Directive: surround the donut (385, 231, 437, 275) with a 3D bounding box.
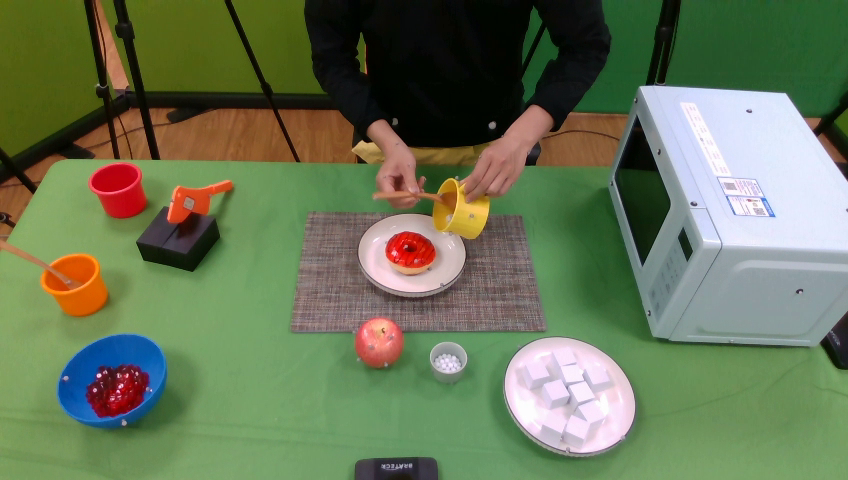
[{"bbox_3d":[-0.025,0.024,1.141,0.099,0.048,0.098,3,44,-3],"label":"donut"}]

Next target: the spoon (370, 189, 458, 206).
[{"bbox_3d":[-0.004,-0.077,1.060,0.194,0.022,0.041,0,48,-29],"label":"spoon"}]

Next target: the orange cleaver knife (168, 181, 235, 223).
[{"bbox_3d":[-0.436,-0.078,1.196,0.012,0.077,0.211,16,15,10],"label":"orange cleaver knife"}]

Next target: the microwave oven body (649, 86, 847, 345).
[{"bbox_3d":[0.568,-0.053,1.118,0.326,0.261,0.439,2,45,-1],"label":"microwave oven body"}]

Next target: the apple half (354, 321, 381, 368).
[{"bbox_3d":[-0.097,0.176,0.985,0.033,0.081,0.080,-12,48,-20],"label":"apple half"}]

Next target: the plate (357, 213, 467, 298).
[{"bbox_3d":[-0.023,0.032,1.150,0.209,0.038,0.208,2,46,-2],"label":"plate"}]

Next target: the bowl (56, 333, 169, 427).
[{"bbox_3d":[-0.456,0.223,0.911,0.151,0.077,0.150,3,45,-2],"label":"bowl"}]

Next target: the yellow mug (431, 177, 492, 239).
[{"bbox_3d":[0.072,-0.065,1.078,0.064,0.131,0.099,14,49,-25],"label":"yellow mug"}]

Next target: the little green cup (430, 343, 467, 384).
[{"bbox_3d":[0.039,0.203,0.993,0.061,0.039,0.061,2,46,-2],"label":"little green cup"}]

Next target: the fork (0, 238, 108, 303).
[{"bbox_3d":[-0.633,0.048,1.017,0.208,0.018,0.028,40,41,-27],"label":"fork"}]

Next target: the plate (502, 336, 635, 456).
[{"bbox_3d":[0.225,0.248,0.963,0.208,0.039,0.206,2,46,-2],"label":"plate"}]

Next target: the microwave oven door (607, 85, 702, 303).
[{"bbox_3d":[0.423,-0.094,1.140,0.039,0.245,0.353,2,46,-1],"label":"microwave oven door"}]

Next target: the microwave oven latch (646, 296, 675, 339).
[{"bbox_3d":[0.412,0.134,1.061,0.030,0.029,0.078,4,45,1],"label":"microwave oven latch"}]

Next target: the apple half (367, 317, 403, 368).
[{"bbox_3d":[-0.061,0.167,0.998,0.053,0.075,0.080,-11,44,-20],"label":"apple half"}]
